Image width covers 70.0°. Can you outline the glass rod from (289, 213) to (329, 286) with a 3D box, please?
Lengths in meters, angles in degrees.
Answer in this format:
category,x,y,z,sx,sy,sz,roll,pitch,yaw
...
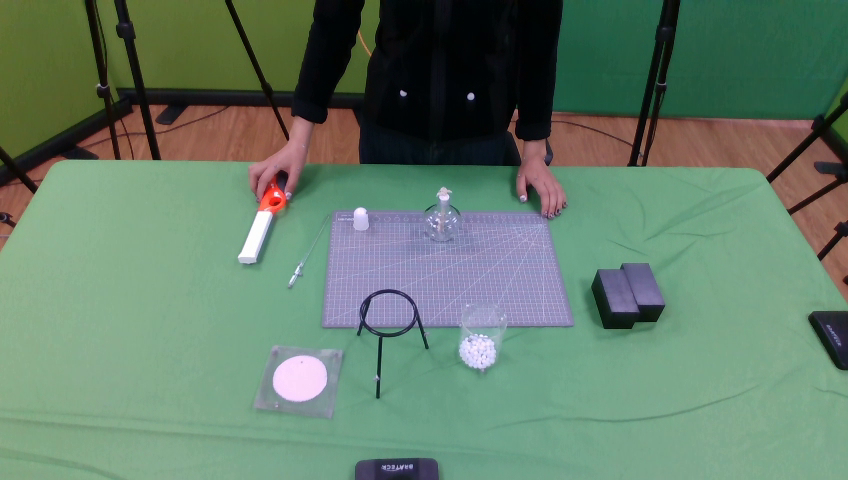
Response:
category,x,y,z,sx,sy,sz,roll,pitch,yaw
glass rod,-0.221,0.014,1.179,0.008,0.008,0.199,12,46,8

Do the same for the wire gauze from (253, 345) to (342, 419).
category,x,y,z,sx,sy,sz,roll,pitch,yaw
wire gauze,-0.200,0.224,0.979,0.125,0.011,0.121,7,47,0

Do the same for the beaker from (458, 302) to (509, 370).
category,x,y,z,sx,sy,sz,roll,pitch,yaw
beaker,0.092,0.159,0.999,0.083,0.101,0.074,35,53,28

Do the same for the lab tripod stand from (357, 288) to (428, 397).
category,x,y,z,sx,sy,sz,roll,pitch,yaw
lab tripod stand,-0.058,0.155,0.967,0.148,0.132,0.147,3,47,-3

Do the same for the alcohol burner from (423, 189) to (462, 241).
category,x,y,z,sx,sy,sz,roll,pitch,yaw
alcohol burner,0.036,-0.055,1.186,0.078,0.120,0.077,2,48,-1

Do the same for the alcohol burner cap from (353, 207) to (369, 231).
category,x,y,z,sx,sy,sz,roll,pitch,yaw
alcohol burner cap,-0.127,-0.046,1.215,0.034,0.048,0.033,3,47,-3

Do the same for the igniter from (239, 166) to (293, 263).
category,x,y,z,sx,sy,sz,roll,pitch,yaw
igniter,-0.318,-0.060,1.229,0.057,0.025,0.275,2,45,7
